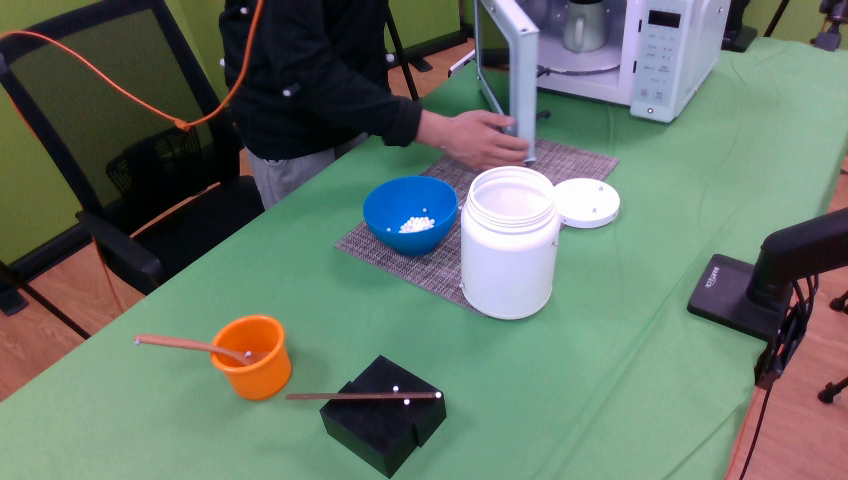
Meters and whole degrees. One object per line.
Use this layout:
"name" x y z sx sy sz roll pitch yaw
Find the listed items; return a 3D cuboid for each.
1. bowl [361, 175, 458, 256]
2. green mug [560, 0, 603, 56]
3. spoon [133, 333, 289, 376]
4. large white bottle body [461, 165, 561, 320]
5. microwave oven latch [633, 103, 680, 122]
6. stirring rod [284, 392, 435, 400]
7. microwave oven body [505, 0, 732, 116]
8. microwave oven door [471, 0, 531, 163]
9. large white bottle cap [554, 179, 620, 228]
"bowl" -0.019 -0.028 0.955 0.151 0.077 0.150 -4 40 4
"green mug" 0.333 -0.451 1.295 0.092 0.105 0.125 10 47 22
"spoon" -0.257 0.137 0.747 0.021 0.195 0.041 -47 40 22
"large white bottle body" 0.115 0.004 0.816 0.130 0.185 0.130 -2 43 2
"microwave oven latch" 0.444 -0.249 1.157 0.078 0.029 0.030 21 49 30
"stirring rod" -0.075 0.180 0.698 0.176 0.006 0.014 -2 6 7
"microwave oven body" 0.377 -0.463 1.267 0.438 0.261 0.327 21 49 30
"microwave oven door" 0.143 -0.343 1.154 0.039 0.245 0.353 -10 40 -3
"large white bottle cap" 0.265 -0.062 1.001 0.115 0.018 0.114 -3 41 4
